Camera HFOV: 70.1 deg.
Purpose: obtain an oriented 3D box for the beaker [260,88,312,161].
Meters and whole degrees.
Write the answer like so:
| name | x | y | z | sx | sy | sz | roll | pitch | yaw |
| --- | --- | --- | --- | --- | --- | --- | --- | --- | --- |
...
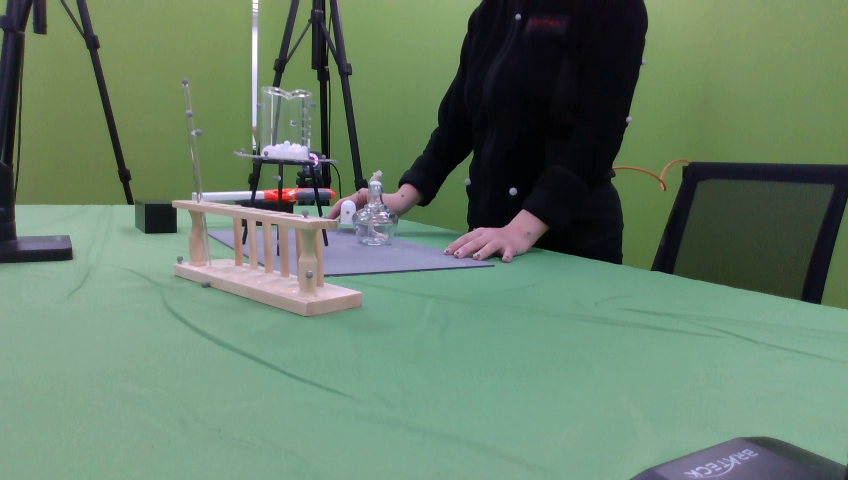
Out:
| name | x | y | z | sx | sy | sz | roll | pitch | yaw |
| --- | --- | --- | --- | --- | --- | --- | --- | --- | --- |
| beaker | -0.200 | -0.166 | 0.876 | 0.074 | 0.100 | 0.083 | 1 | 7 | -18 |

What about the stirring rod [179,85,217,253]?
| name | x | y | z | sx | sy | sz | roll | pitch | yaw |
| --- | --- | --- | --- | --- | --- | --- | --- | --- | --- |
| stirring rod | -0.236 | -0.073 | 0.634 | 0.006 | 0.176 | 0.014 | 0 | 10 | 42 |

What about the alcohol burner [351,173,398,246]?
| name | x | y | z | sx | sy | sz | roll | pitch | yaw |
| --- | --- | --- | --- | --- | --- | --- | --- | --- | --- |
| alcohol burner | -0.081 | -0.051 | 0.995 | 0.078 | 0.119 | 0.078 | 1 | 6 | 0 |

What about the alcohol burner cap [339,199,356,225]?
| name | x | y | z | sx | sy | sz | roll | pitch | yaw |
| --- | --- | --- | --- | --- | --- | --- | --- | --- | --- |
| alcohol burner cap | -0.143 | -0.052 | 1.125 | 0.034 | 0.048 | 0.034 | -2 | 5 | 0 |

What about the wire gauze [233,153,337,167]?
| name | x | y | z | sx | sy | sz | roll | pitch | yaw |
| --- | --- | --- | --- | --- | --- | --- | --- | --- | --- |
| wire gauze | -0.205 | -0.119 | 0.887 | 0.122 | 0.011 | 0.124 | 2 | 4 | -32 |

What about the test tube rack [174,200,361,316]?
| name | x | y | z | sx | sy | sz | roll | pitch | yaw |
| --- | --- | --- | --- | --- | --- | --- | --- | --- | --- |
| test tube rack | -0.169 | 0.009 | 0.622 | 0.241 | 0.085 | 0.067 | 9 | 9 | 41 |

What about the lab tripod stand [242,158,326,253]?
| name | x | y | z | sx | sy | sz | roll | pitch | yaw |
| --- | --- | --- | --- | --- | --- | --- | --- | --- | --- |
| lab tripod stand | -0.207 | -0.054 | 0.895 | 0.148 | 0.131 | 0.148 | 3 | 5 | 0 |

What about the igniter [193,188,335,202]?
| name | x | y | z | sx | sy | sz | roll | pitch | yaw |
| --- | --- | --- | --- | --- | --- | --- | --- | --- | --- |
| igniter | -0.312 | -0.089 | 1.209 | 0.278 | 0.025 | 0.057 | -5 | 13 | -31 |
